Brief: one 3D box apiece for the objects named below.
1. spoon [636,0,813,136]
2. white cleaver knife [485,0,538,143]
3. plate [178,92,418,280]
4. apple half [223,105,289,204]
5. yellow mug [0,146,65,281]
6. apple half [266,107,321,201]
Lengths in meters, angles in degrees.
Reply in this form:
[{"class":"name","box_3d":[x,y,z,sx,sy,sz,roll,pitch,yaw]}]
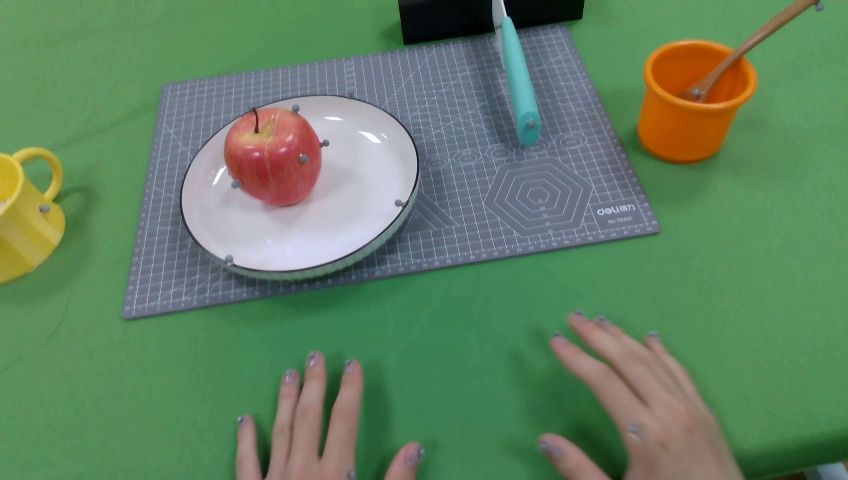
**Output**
[{"class":"spoon","box_3d":[0.266,-0.157,0.518,0.022,0.194,0.041,20,40,-36]},{"class":"white cleaver knife","box_3d":[0.081,-0.218,0.623,0.021,0.066,0.284,-8,64,2]},{"class":"plate","box_3d":[-0.108,-0.049,0.538,0.209,0.038,0.207,-2,54,3]},{"class":"apple half","box_3d":[-0.143,-0.072,0.526,0.053,0.075,0.080,-1,57,10]},{"class":"yellow mug","box_3d":[-0.375,-0.033,0.536,0.099,0.064,0.130,20,58,18]},{"class":"apple half","box_3d":[-0.105,-0.073,0.521,0.033,0.082,0.080,-2,54,10]}]
